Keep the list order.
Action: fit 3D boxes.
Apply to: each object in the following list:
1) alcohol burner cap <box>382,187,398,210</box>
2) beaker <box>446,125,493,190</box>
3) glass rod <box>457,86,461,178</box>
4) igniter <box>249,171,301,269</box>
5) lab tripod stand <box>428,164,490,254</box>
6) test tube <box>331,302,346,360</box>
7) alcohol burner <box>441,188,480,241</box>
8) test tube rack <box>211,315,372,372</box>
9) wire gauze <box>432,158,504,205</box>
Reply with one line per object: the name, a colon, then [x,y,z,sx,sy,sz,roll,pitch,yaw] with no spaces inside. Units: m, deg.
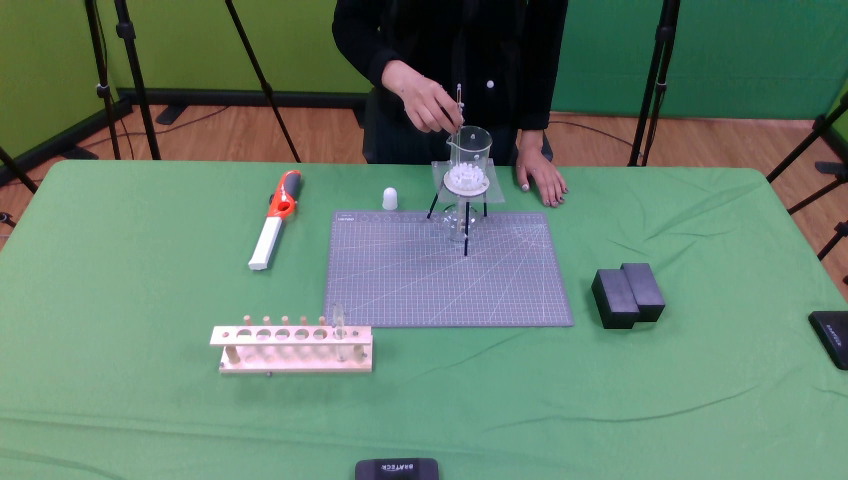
alcohol burner cap: [-0.072,-0.090,1.266,0.034,0.048,0.033,3,47,-2]
beaker: [0.079,-0.148,1.106,0.084,0.101,0.073,-3,47,-7]
glass rod: [0.063,-0.185,1.066,0.008,0.201,0.008,-2,48,2]
igniter: [-0.297,-0.049,1.220,0.057,0.025,0.275,-2,45,9]
lab tripod stand: [0.078,-0.068,1.188,0.148,0.132,0.147,3,47,-3]
test tube: [-0.132,0.144,0.938,0.017,0.151,0.017,2,49,-3]
alcohol burner: [0.073,-0.055,1.189,0.078,0.120,0.077,1,48,-1]
test tube rack: [-0.208,0.163,0.982,0.242,0.085,0.066,1,46,-4]
wire gauze: [0.081,-0.111,1.138,0.125,0.011,0.120,0,48,-7]
